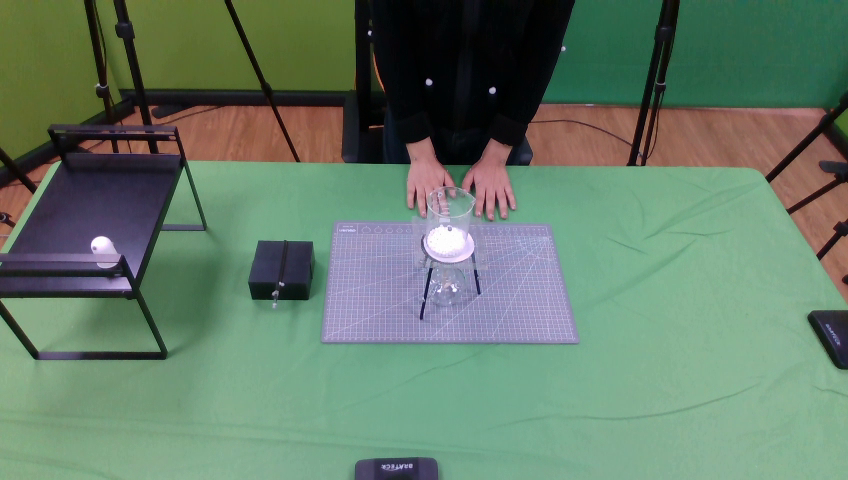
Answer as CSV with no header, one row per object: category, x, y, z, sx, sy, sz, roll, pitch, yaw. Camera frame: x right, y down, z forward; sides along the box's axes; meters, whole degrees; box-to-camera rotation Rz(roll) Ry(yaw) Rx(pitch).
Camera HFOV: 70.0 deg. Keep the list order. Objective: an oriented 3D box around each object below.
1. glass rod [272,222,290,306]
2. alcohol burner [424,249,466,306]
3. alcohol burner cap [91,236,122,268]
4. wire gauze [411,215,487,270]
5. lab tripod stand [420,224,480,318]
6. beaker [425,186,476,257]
glass rod,-0.255,0.039,1.084,0.008,0.008,0.198,1,46,-3
alcohol burner,0.038,0.061,1.075,0.078,0.120,0.077,2,44,-1
alcohol burner cap,-0.465,0.015,0.883,0.034,0.048,0.033,1,47,-1
wire gauze,0.041,0.003,1.026,0.125,0.011,0.120,0,46,-1
lab tripod stand,0.034,0.051,1.071,0.148,0.132,0.147,3,48,-3
beaker,0.041,-0.028,0.989,0.084,0.101,0.073,-12,48,-15
